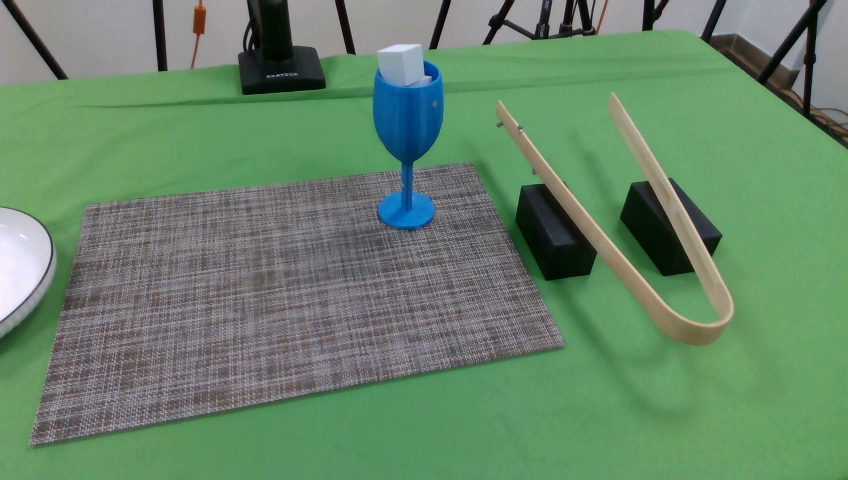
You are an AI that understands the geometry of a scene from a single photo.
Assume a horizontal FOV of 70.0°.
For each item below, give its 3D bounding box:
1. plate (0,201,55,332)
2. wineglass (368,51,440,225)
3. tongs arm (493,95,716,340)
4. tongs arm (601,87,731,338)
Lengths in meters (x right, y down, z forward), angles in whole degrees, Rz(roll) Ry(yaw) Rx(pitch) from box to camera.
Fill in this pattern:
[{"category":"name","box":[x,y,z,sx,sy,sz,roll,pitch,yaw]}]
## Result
[{"category":"plate","box":[-0.451,0.042,0.557,0.209,0.038,0.207,2,43,-1]},{"category":"wineglass","box":[-0.021,-0.101,0.632,0.074,0.174,0.073,2,43,-1]},{"category":"tongs arm","box":[0.164,-0.048,0.631,0.051,0.027,0.380,-8,45,-15]},{"category":"tongs arm","box":[0.243,-0.057,0.646,0.028,0.028,0.383,3,43,-8]}]
